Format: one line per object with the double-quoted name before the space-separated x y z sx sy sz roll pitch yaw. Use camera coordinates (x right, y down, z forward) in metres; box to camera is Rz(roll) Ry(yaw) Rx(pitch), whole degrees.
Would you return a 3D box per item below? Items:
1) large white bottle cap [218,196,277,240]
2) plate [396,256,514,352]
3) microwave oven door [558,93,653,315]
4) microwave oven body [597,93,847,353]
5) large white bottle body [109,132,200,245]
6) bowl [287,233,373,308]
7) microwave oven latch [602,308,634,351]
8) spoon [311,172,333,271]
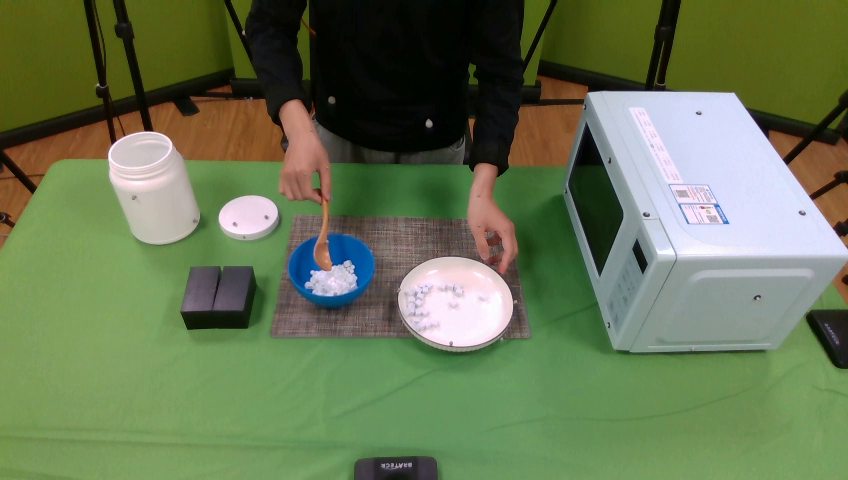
"large white bottle cap" -0.354 -0.045 1.220 0.115 0.018 0.114 2 45 -2
"plate" 0.053 0.116 1.077 0.209 0.038 0.208 2 46 -2
"microwave oven door" 0.327 -0.074 1.123 0.039 0.245 0.353 -1 46 -5
"microwave oven body" 0.475 -0.041 1.109 0.326 0.261 0.438 -1 45 -4
"large white bottle body" -0.506 -0.097 1.141 0.131 0.185 0.130 2 46 -2
"bowl" -0.165 0.068 1.078 0.151 0.077 0.150 3 45 -3
"microwave oven latch" 0.332 0.153 1.044 0.030 0.029 0.078 -1 45 -4
"spoon" -0.179 -0.034 1.062 0.042 0.021 0.193 12 65 -36
